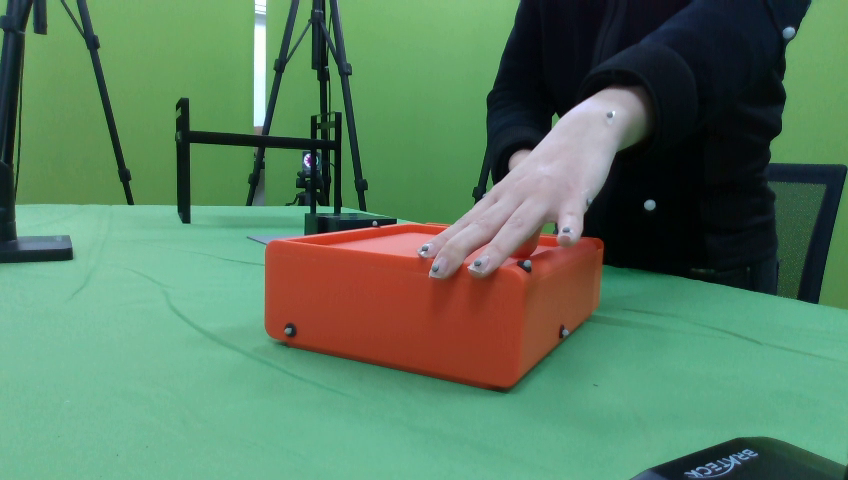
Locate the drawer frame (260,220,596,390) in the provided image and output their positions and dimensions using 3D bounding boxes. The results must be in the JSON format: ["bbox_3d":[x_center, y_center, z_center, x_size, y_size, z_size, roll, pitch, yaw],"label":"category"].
[{"bbox_3d":[0.016,0.036,0.494,0.201,0.082,0.214,6,9,26],"label":"drawer frame"}]

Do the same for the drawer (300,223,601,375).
[{"bbox_3d":[0.033,0.038,0.527,0.194,0.073,0.212,7,11,27],"label":"drawer"}]

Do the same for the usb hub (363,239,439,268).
[{"bbox_3d":[-0.029,0.017,0.828,0.049,0.025,0.126,5,7,29],"label":"usb hub"}]
